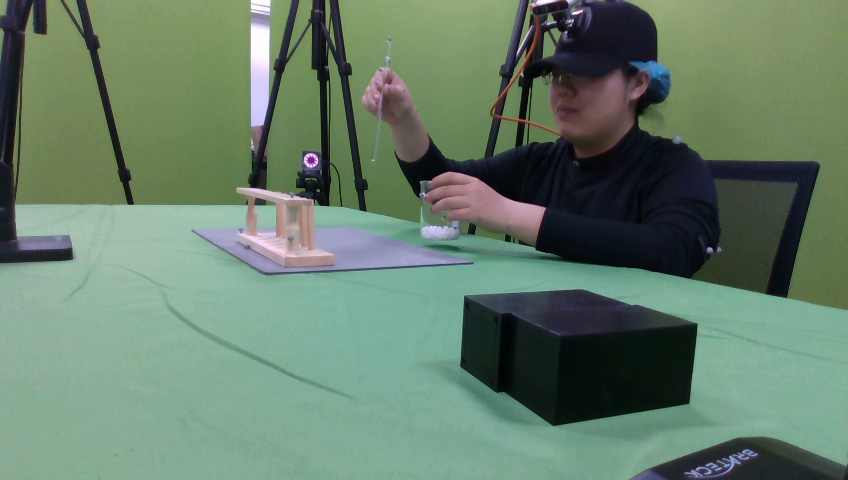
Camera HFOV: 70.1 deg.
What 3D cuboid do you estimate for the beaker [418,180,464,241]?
[{"bbox_3d":[0.032,-0.050,1.013,0.083,0.100,0.074,5,6,41],"label":"beaker"}]

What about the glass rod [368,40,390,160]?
[{"bbox_3d":[-0.073,-0.228,0.979,0.008,0.199,0.008,9,-3,1],"label":"glass rod"}]

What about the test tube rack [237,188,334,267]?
[{"bbox_3d":[-0.202,-0.024,0.854,0.067,0.085,0.241,-2,8,-30],"label":"test tube rack"}]
